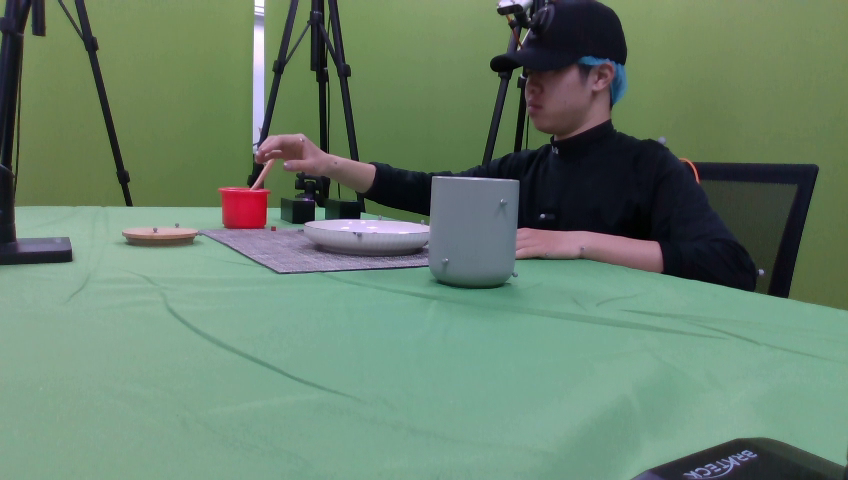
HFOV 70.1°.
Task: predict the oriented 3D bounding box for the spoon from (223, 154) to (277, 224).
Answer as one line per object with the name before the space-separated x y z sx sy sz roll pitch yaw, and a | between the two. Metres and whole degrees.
spoon | -0.345 -0.106 1.214 0.041 0.022 0.194 2 45 26

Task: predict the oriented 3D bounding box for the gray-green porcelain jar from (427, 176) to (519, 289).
gray-green porcelain jar | 0.057 -0.010 0.722 0.106 0.126 0.106 2 7 0

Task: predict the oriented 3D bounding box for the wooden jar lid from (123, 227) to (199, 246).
wooden jar lid | -0.408 -0.006 0.942 0.108 0.020 0.108 3 6 0

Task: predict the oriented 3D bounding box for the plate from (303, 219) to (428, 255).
plate | -0.084 -0.005 0.952 0.208 0.039 0.207 3 7 0
